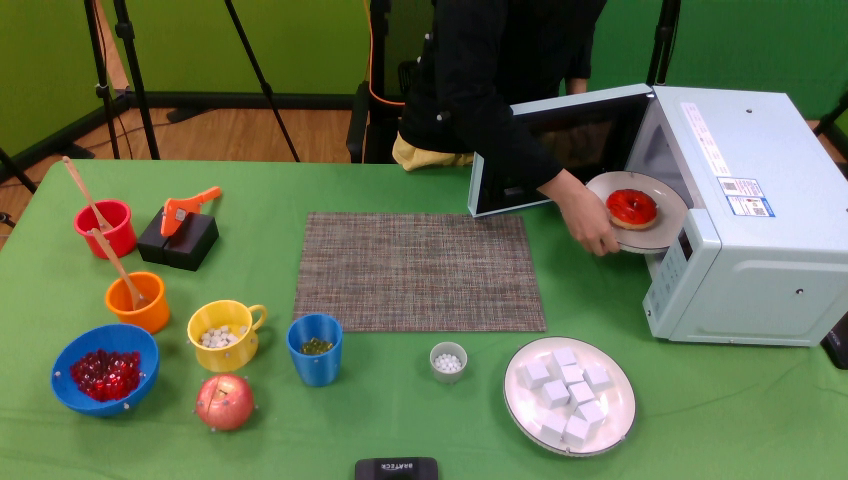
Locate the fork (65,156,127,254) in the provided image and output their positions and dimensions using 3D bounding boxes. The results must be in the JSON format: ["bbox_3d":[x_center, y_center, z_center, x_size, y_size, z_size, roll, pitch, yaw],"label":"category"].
[{"bbox_3d":[-0.614,-0.064,1.130,0.028,0.018,0.207,-29,97,-17],"label":"fork"}]

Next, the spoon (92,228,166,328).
[{"bbox_3d":[-0.495,0.063,1.014,0.041,0.194,0.021,-34,13,-32],"label":"spoon"}]

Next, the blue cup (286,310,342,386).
[{"bbox_3d":[-0.169,0.179,0.958,0.093,0.101,0.092,2,44,-1],"label":"blue cup"}]

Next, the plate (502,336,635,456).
[{"bbox_3d":[0.225,0.248,0.963,0.208,0.039,0.206,2,46,-2],"label":"plate"}]

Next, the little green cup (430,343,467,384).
[{"bbox_3d":[0.039,0.203,0.993,0.061,0.039,0.061,2,46,-2],"label":"little green cup"}]

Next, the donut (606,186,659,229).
[{"bbox_3d":[0.395,-0.063,1.149,0.099,0.048,0.098,3,48,-3],"label":"donut"}]

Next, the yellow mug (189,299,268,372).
[{"bbox_3d":[-0.315,0.148,1.001,0.131,0.064,0.099,-33,56,-31],"label":"yellow mug"}]

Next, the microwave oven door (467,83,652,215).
[{"bbox_3d":[0.267,-0.181,1.214,0.356,0.245,0.039,-12,49,-15],"label":"microwave oven door"}]

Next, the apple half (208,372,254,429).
[{"bbox_3d":[-0.282,0.244,0.907,0.053,0.075,0.080,7,43,-1],"label":"apple half"}]

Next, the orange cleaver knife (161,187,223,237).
[{"bbox_3d":[-0.448,-0.058,1.180,0.012,0.077,0.211,13,17,6],"label":"orange cleaver knife"}]

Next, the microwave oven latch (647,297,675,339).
[{"bbox_3d":[0.413,0.134,1.060,0.030,0.029,0.078,5,45,2],"label":"microwave oven latch"}]

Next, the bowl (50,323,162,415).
[{"bbox_3d":[-0.472,0.209,0.924,0.151,0.077,0.150,2,45,-2],"label":"bowl"}]

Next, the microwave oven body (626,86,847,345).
[{"bbox_3d":[0.567,-0.053,1.118,0.326,0.261,0.439,2,45,-1],"label":"microwave oven body"}]

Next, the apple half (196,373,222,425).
[{"bbox_3d":[-0.322,0.239,0.907,0.033,0.081,0.081,7,46,-1],"label":"apple half"}]

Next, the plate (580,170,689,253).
[{"bbox_3d":[0.400,-0.050,1.156,0.209,0.038,0.208,2,49,-2],"label":"plate"}]
